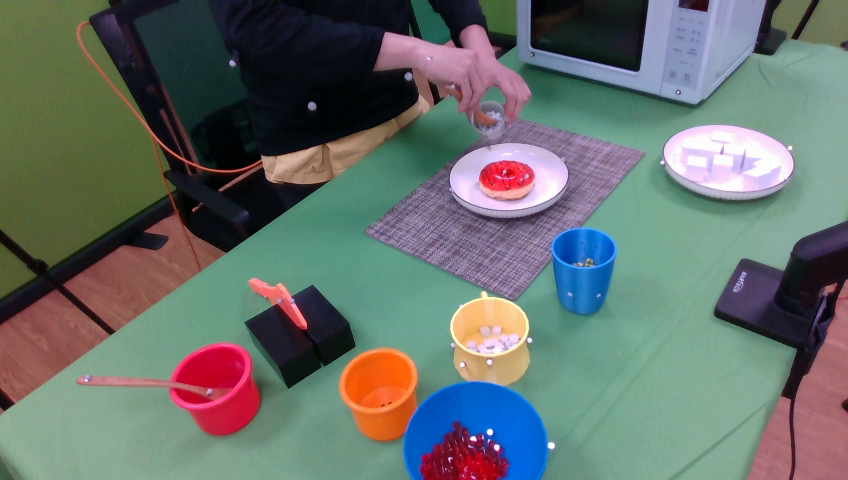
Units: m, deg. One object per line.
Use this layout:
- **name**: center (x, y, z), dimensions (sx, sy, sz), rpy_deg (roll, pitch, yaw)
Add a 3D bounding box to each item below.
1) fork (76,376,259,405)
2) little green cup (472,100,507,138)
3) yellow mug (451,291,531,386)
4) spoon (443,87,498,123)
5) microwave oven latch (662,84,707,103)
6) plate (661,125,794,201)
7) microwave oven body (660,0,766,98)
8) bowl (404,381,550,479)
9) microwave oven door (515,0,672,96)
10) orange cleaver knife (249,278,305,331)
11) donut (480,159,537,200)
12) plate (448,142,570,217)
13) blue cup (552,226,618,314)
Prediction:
- **fork**: center (-0.295, 0.176, 0.716), dimensions (0.209, 0.018, 0.028), rpy_deg (19, 26, -36)
- **little green cup**: center (0.118, -0.212, 1.074), dimensions (0.061, 0.039, 0.061), rpy_deg (-2, 78, 10)
- **yellow mug**: center (0.085, 0.120, 0.786), dimensions (0.100, 0.064, 0.130), rpy_deg (-7, 39, 1)
- **spoon**: center (0.075, -0.223, 0.996), dimensions (0.041, 0.195, 0.021), rpy_deg (11, 88, 28)
- **microwave oven latch**: center (0.517, -0.296, 1.204), dimensions (0.078, 0.029, 0.030), rpy_deg (27, 52, 35)
- **plate**: center (0.513, -0.128, 1.035), dimensions (0.207, 0.039, 0.206), rpy_deg (-4, 40, 4)
- **microwave oven body**: center (0.473, -0.513, 1.317), dimensions (0.438, 0.261, 0.327), rpy_deg (26, 51, 34)
- **bowl**: center (0.058, 0.235, 0.645), dimensions (0.151, 0.077, 0.150), rpy_deg (-4, 39, 4)
- **microwave oven door**: center (0.344, -0.455, 1.260), dimensions (0.353, 0.245, 0.039), rpy_deg (26, 51, 33)
- **orange cleaver knife**: center (-0.210, 0.088, 0.856), dimensions (0.012, 0.077, 0.210), rpy_deg (-28, 15, -25)
- **donut**: center (0.146, -0.106, 1.042), dimensions (0.099, 0.048, 0.098), rpy_deg (-5, 38, 4)
- **plate**: center (0.148, -0.101, 1.053), dimensions (0.209, 0.038, 0.208), rpy_deg (-4, 40, 4)
- **blue cup**: center (0.218, 0.047, 0.826), dimensions (0.092, 0.100, 0.092), rpy_deg (-6, 40, 5)
